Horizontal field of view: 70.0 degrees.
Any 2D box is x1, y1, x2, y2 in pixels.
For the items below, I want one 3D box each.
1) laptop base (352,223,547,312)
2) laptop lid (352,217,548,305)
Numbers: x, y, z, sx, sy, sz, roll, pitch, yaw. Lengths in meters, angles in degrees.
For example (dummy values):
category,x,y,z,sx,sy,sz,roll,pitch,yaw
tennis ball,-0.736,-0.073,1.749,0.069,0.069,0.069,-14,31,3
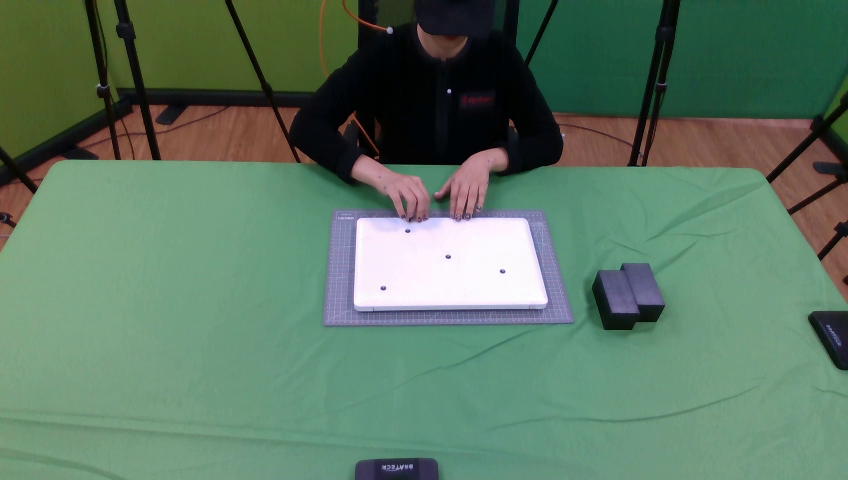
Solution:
category,x,y,z,sx,sy,sz,roll,pitch,yaw
laptop base,0.043,0.044,1.162,0.355,0.023,0.234,0,43,-5
laptop lid,0.044,0.034,1.154,0.357,0.013,0.240,1,44,-3
